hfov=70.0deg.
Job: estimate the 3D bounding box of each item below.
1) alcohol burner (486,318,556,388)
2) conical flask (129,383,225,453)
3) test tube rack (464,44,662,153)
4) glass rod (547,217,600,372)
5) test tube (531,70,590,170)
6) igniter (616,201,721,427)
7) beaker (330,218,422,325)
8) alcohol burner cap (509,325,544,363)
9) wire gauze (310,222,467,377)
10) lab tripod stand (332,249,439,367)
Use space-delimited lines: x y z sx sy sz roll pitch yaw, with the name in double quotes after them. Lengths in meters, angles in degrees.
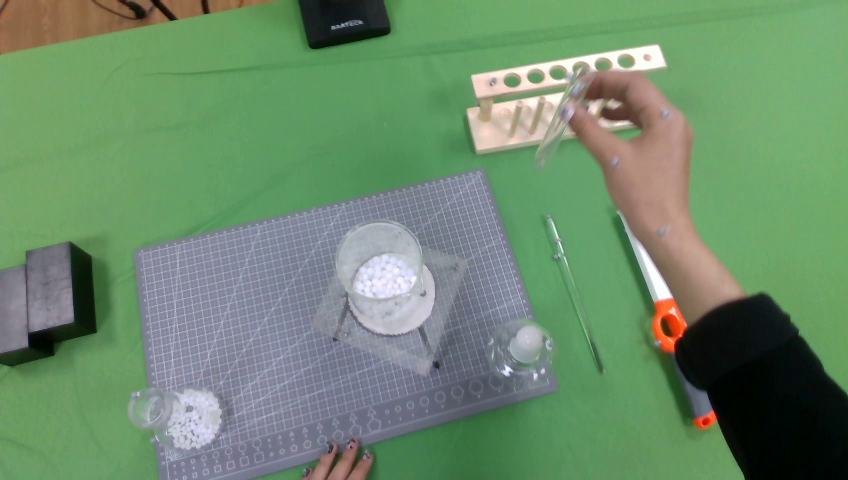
0.106 0.118 0.654 0.078 0.120 0.077 -1 69 2 "alcohol burner"
-0.257 0.177 0.622 0.075 0.122 0.075 0 69 0 "conical flask"
0.179 -0.182 0.786 0.242 0.086 0.066 -11 69 -4 "test tube rack"
0.181 0.063 0.735 0.008 0.008 0.198 -13 73 -6 "glass rod"
0.113 -0.096 0.515 0.017 0.151 0.017 1 72 -2 "test tube"
0.288 0.080 0.720 0.057 0.025 0.274 -8 69 -15 "igniter"
-0.037 0.035 0.551 0.083 0.101 0.074 34 73 12 "beaker"
0.106 0.104 0.620 0.034 0.048 0.033 1 61 -2 "alcohol burner cap"
-0.033 0.054 0.595 0.125 0.011 0.121 21 73 6 "wire gauze"
-0.036 0.076 0.657 0.148 0.132 0.147 0 71 0 "lab tripod stand"
